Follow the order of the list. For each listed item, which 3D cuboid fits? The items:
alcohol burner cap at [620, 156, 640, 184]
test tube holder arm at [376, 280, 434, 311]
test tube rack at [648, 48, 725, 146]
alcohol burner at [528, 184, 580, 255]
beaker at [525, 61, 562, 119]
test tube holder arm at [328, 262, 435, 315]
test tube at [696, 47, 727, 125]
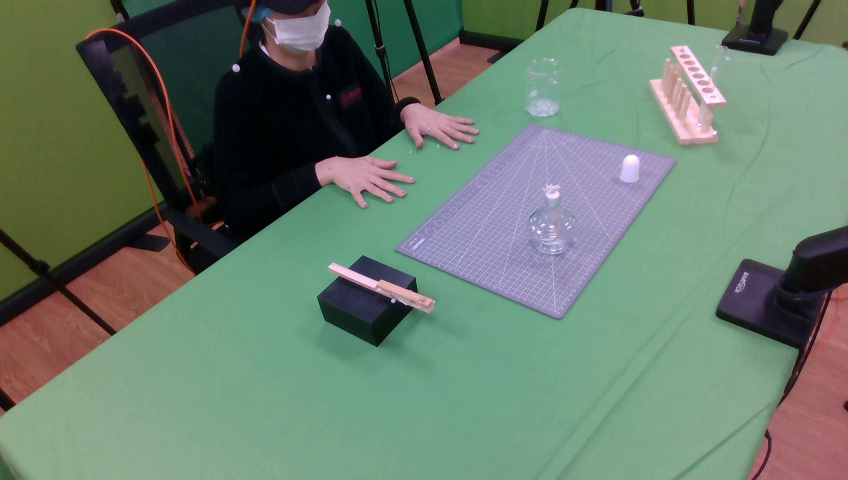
[{"bbox_3d":[0.358,-0.124,1.047,0.034,0.048,0.033,-4,40,4],"label":"alcohol burner cap"},{"bbox_3d":[-0.026,0.074,0.811,0.087,0.010,0.015,19,48,29],"label":"test tube holder arm"},{"bbox_3d":[0.508,-0.285,1.186,0.067,0.085,0.241,-4,40,6],"label":"test tube rack"},{"bbox_3d":[0.196,-0.035,0.911,0.078,0.119,0.077,-6,41,5],"label":"alcohol burner"},{"bbox_3d":[0.248,-0.308,1.246,0.073,0.101,0.084,30,52,36],"label":"beaker"},{"bbox_3d":[-0.063,0.065,0.836,0.177,0.013,0.015,20,48,28],"label":"test tube holder arm"},{"bbox_3d":[0.519,-0.276,1.094,0.017,0.151,0.017,-1,42,2],"label":"test tube"}]
